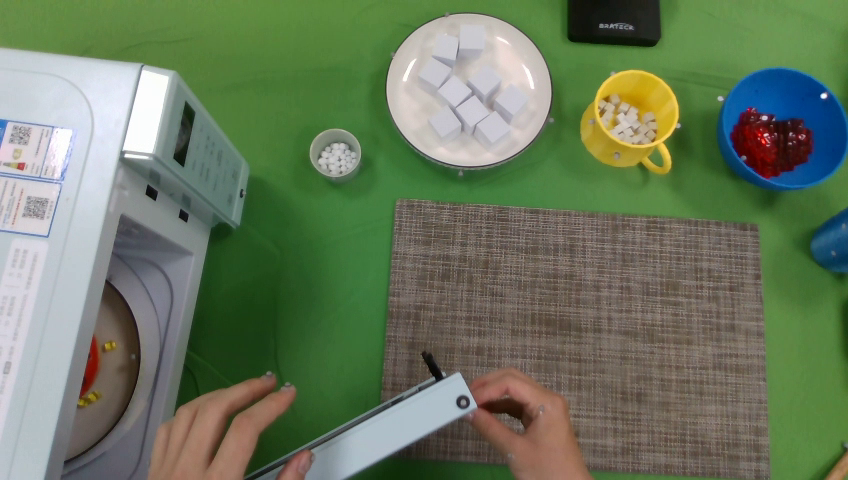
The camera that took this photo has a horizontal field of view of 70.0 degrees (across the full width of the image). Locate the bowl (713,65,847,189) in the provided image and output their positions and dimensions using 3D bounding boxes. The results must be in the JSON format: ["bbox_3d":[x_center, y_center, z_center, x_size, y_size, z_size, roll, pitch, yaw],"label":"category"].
[{"bbox_3d":[0.417,-0.126,0.738,0.151,0.077,0.150,0,79,-1],"label":"bowl"}]

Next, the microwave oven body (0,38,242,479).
[{"bbox_3d":[-0.396,0.064,0.580,0.326,0.261,0.440,7,79,0],"label":"microwave oven body"}]

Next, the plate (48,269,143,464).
[{"bbox_3d":[-0.391,0.124,0.623,0.209,0.038,0.208,0,78,-1],"label":"plate"}]

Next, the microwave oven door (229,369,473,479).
[{"bbox_3d":[-0.127,0.213,0.552,0.356,0.244,0.039,-26,79,-7],"label":"microwave oven door"}]

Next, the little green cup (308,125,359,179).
[{"bbox_3d":[-0.107,-0.104,0.738,0.061,0.039,0.061,0,79,-1],"label":"little green cup"}]

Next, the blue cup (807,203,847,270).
[{"bbox_3d":[0.504,-0.004,0.702,0.093,0.100,0.092,0,76,-1],"label":"blue cup"}]

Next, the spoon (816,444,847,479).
[{"bbox_3d":[0.421,0.299,0.679,0.193,0.022,0.041,-40,70,-9],"label":"spoon"}]

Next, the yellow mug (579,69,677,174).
[{"bbox_3d":[0.257,-0.137,0.742,0.100,0.064,0.130,-32,82,-8],"label":"yellow mug"}]

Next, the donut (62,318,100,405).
[{"bbox_3d":[-0.377,0.118,0.610,0.099,0.048,0.098,0,81,-2],"label":"donut"}]

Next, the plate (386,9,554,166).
[{"bbox_3d":[0.057,-0.189,0.762,0.208,0.039,0.206,0,78,-1],"label":"plate"}]

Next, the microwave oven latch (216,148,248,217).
[{"bbox_3d":[-0.228,-0.068,0.710,0.030,0.029,0.079,10,79,0],"label":"microwave oven latch"}]
